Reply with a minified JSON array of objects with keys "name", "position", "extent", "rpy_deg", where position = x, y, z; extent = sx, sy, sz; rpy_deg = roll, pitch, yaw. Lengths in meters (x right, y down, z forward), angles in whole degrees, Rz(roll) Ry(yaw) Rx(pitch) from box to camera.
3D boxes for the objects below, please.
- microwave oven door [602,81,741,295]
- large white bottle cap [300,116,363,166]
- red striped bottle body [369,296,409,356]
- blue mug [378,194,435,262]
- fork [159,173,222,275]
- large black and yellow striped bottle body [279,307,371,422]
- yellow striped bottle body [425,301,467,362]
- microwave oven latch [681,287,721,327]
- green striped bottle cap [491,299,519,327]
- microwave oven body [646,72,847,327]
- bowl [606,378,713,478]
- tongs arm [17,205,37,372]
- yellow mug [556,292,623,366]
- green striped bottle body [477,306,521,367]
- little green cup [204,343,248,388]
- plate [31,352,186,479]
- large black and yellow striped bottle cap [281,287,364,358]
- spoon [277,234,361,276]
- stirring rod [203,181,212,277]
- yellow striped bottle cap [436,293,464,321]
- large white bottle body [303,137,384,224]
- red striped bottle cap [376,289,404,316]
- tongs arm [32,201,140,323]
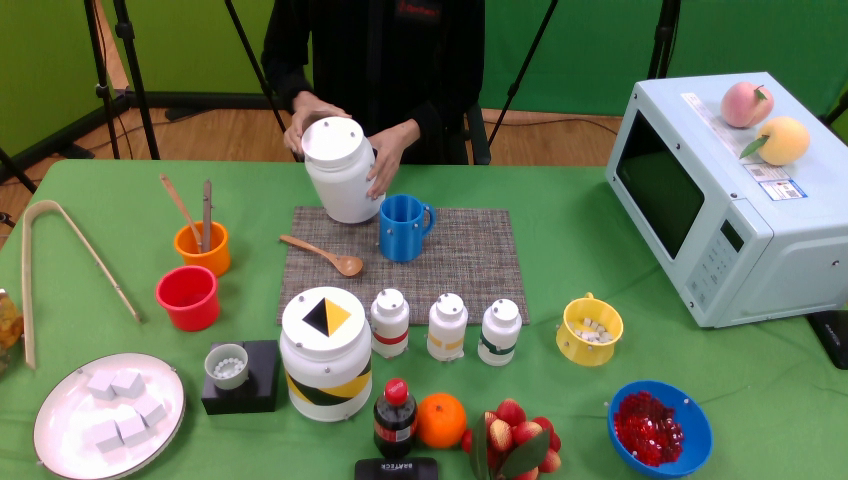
[{"name":"microwave oven door","position":[0.456,-0.107,1.162],"extent":[0.039,0.245,0.353],"rpy_deg":[-7,47,-11]},{"name":"large white bottle cap","position":[-0.169,-0.182,1.107],"extent":[0.115,0.018,0.114],"rpy_deg":[-3,54,4]},{"name":"red striped bottle body","position":[-0.058,0.134,0.997],"extent":[0.063,0.120,0.062],"rpy_deg":[4,47,-4]},{"name":"blue mug","position":[-0.032,-0.028,1.160],"extent":[0.116,0.106,0.082],"rpy_deg":[-19,51,-21]},{"name":"fork","position":[-0.427,-0.029,1.103],"extent":[0.028,0.018,0.207],"rpy_deg":[-31,99,-30]},{"name":"large black and yellow striped bottle body","position":[-0.145,0.173,0.907],"extent":[0.131,0.185,0.130],"rpy_deg":[2,46,-2]},{"name":"yellow striped bottle body","position":[0.037,0.142,0.996],"extent":[0.063,0.121,0.062],"rpy_deg":[3,46,-2]},{"name":"microwave oven latch","position":[0.494,0.119,1.087],"extent":[0.030,0.029,0.078],"rpy_deg":[-5,46,-9]},{"name":"green striped bottle cap","position":[0.128,0.115,0.958],"extent":[0.044,0.020,0.044],"rpy_deg":[1,46,-1]},{"name":"microwave oven body","position":[0.607,-0.089,1.164],"extent":[0.326,0.261,0.438],"rpy_deg":[-7,46,-10]},{"name":"bowl","position":[0.340,0.292,0.906],"extent":[0.151,0.077,0.150],"rpy_deg":[2,46,-2]},{"name":"tongs arm","position":[-0.698,0.072,1.069],"extent":[0.028,0.028,0.385],"rpy_deg":[-21,51,-13]},{"name":"yellow mug","position":[0.285,0.145,1.051],"extent":[0.100,0.064,0.130],"rpy_deg":[7,45,3]},{"name":"green striped bottle body","position":[0.124,0.151,0.995],"extent":[0.063,0.120,0.063],"rpy_deg":[2,46,-2]},{"name":"little green cup","position":[-0.294,0.190,0.909],"extent":[0.061,0.039,0.061],"rpy_deg":[1,48,-1]},{"name":"plate","position":[-0.459,0.262,0.898],"extent":[0.209,0.038,0.208],"rpy_deg":[2,46,-2]},{"name":"large black and yellow striped bottle cap","position":[-0.141,0.112,0.847],"extent":[0.115,0.019,0.114],"rpy_deg":[5,45,-4]},{"name":"spoon","position":[-0.202,0.023,1.155],"extent":[0.193,0.022,0.041],"rpy_deg":[23,69,18]},{"name":"stirring rod","position":[-0.396,-0.021,1.107],"extent":[0.014,0.006,0.176],"rpy_deg":[-1,89,-1]},{"name":"yellow striped bottle cap","position":[0.041,0.106,0.959],"extent":[0.044,0.019,0.044],"rpy_deg":[-1,50,1]},{"name":"large white bottle body","position":[-0.157,-0.133,1.181],"extent":[0.130,0.185,0.130],"rpy_deg":[-5,56,7]},{"name":"red striped bottle cap","position":[-0.054,0.098,0.958],"extent":[0.044,0.018,0.044],"rpy_deg":[0,48,1]},{"name":"tongs arm","position":[-0.623,0.035,1.105],"extent":[0.051,0.026,0.382],"rpy_deg":[-33,56,-25]}]
